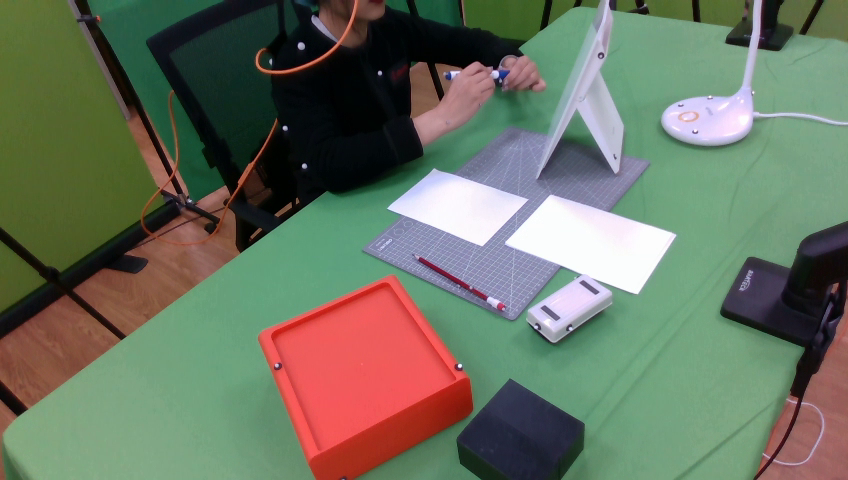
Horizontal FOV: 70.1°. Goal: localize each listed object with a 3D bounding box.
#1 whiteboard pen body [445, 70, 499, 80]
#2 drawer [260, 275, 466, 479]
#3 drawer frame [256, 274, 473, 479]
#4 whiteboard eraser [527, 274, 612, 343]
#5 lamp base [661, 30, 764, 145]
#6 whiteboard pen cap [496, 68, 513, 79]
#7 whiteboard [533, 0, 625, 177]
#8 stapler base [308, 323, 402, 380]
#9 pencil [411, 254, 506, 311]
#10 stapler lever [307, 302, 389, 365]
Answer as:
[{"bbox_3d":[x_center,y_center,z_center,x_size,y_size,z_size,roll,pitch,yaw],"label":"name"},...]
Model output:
[{"bbox_3d":[0.102,-0.317,1.160,0.142,0.017,0.017,-9,37,-29],"label":"whiteboard pen body"},{"bbox_3d":[-0.080,0.162,0.759,0.195,0.073,0.210,-22,42,-16],"label":"drawer"},{"bbox_3d":[-0.078,0.163,0.756,0.202,0.083,0.211,-23,43,-17],"label":"drawer frame"},{"bbox_3d":[0.198,0.094,0.820,0.113,0.042,0.055,-30,43,-22],"label":"whiteboard eraser"},{"bbox_3d":[0.535,-0.287,1.096,0.179,0.181,0.159,-10,40,-4],"label":"lamp base"},{"bbox_3d":[0.157,-0.326,1.186,0.033,0.018,0.018,-12,40,-12],"label":"whiteboard pen cap"},{"bbox_3d":[0.321,-0.258,1.049,0.144,0.306,0.217,20,45,4],"label":"whiteboard"},{"bbox_3d":[-0.094,0.142,0.812,0.131,0.024,0.041,-25,29,-17],"label":"stapler base"},{"bbox_3d":[0.047,0.060,0.906,0.012,0.012,0.192,-37,46,-29],"label":"pencil"},{"bbox_3d":[-0.101,0.121,0.799,0.118,0.040,0.026,-25,29,-17],"label":"stapler lever"}]
